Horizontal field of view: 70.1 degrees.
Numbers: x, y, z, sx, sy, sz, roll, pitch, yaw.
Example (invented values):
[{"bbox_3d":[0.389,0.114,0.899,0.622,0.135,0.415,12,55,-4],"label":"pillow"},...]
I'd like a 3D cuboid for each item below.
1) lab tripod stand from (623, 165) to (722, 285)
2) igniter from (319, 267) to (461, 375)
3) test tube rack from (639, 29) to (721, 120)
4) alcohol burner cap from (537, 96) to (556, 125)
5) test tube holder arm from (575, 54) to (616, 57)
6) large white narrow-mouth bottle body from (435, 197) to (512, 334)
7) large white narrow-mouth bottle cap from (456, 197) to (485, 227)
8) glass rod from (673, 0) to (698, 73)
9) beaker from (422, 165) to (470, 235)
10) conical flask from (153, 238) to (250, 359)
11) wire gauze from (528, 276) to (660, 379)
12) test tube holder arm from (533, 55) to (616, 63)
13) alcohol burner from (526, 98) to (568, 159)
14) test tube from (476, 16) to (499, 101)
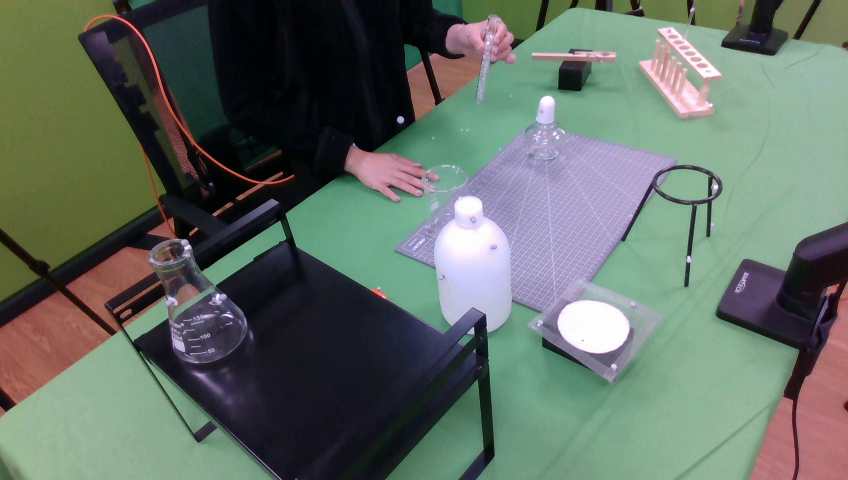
[{"bbox_3d":[0.365,-0.030,0.874,0.148,0.132,0.147,-6,41,6],"label":"lab tripod stand"},{"bbox_3d":[-0.060,0.108,0.862,0.274,0.025,0.057,28,62,35],"label":"igniter"},{"bbox_3d":[0.527,-0.351,1.262,0.067,0.085,0.241,-8,40,1],"label":"test tube rack"},{"bbox_3d":[0.223,-0.237,1.095,0.034,0.048,0.033,-1,42,1],"label":"alcohol burner cap"},{"bbox_3d":[0.373,-0.398,1.318,0.087,0.015,0.010,5,51,16],"label":"test tube holder arm"},{"bbox_3d":[0.066,0.028,0.805,0.102,0.195,0.101,-4,40,4],"label":"large white narrow-mouth bottle body"},{"bbox_3d":[0.058,-0.036,0.750,0.038,0.024,0.037,-4,40,4],"label":"large white narrow-mouth bottle cap"},{"bbox_3d":[0.537,-0.424,1.244,0.008,0.200,0.008,0,47,0],"label":"glass rod"},{"bbox_3d":[0.041,-0.063,0.986,0.073,0.101,0.084,20,47,29],"label":"beaker"},{"bbox_3d":[-0.225,0.055,0.597,0.075,0.122,0.075,-5,41,4],"label":"conical flask"},{"bbox_3d":[0.214,0.103,0.763,0.124,0.011,0.122,30,52,35],"label":"wire gauze"},{"bbox_3d":[0.329,-0.398,1.327,0.178,0.015,0.013,5,51,15],"label":"test tube holder arm"},{"bbox_3d":[0.228,-0.210,1.118,0.078,0.119,0.077,-5,43,5],"label":"alcohol burner"},{"bbox_3d":[0.107,-0.306,1.031,0.017,0.150,0.017,4,42,-3],"label":"test tube"}]
